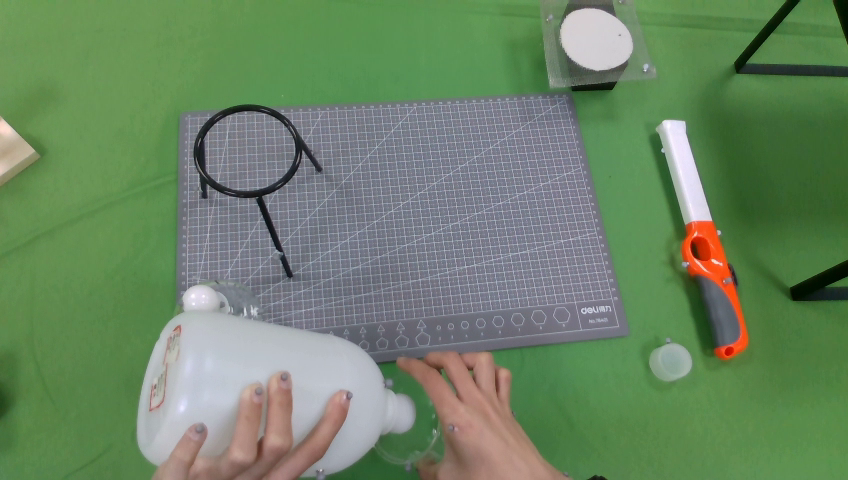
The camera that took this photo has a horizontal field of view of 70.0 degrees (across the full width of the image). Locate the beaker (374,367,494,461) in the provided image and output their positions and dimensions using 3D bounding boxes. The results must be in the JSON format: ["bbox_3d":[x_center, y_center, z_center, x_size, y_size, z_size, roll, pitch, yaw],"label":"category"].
[{"bbox_3d":[0.007,0.154,0.529,0.083,0.101,0.073,0,73,36],"label":"beaker"}]

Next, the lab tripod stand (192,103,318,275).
[{"bbox_3d":[-0.155,-0.052,0.576,0.149,0.132,0.147,3,69,-6],"label":"lab tripod stand"}]

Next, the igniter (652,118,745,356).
[{"bbox_3d":[0.299,-0.011,0.665,0.057,0.025,0.274,0,69,-17],"label":"igniter"}]

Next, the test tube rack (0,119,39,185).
[{"bbox_3d":[-0.507,-0.043,0.566,0.066,0.085,0.242,41,71,10],"label":"test tube rack"}]

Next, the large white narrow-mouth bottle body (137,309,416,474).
[{"bbox_3d":[-0.091,0.116,0.437,0.196,0.101,0.101,18,64,-33],"label":"large white narrow-mouth bottle body"}]

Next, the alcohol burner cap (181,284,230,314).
[{"bbox_3d":[-0.184,0.054,0.505,0.034,0.048,0.033,2,74,-5],"label":"alcohol burner cap"}]

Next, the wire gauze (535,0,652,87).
[{"bbox_3d":[0.192,-0.232,0.697,0.122,0.011,0.124,-3,70,-7],"label":"wire gauze"}]

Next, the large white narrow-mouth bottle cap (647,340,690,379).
[{"bbox_3d":[0.248,0.122,0.615,0.038,0.024,0.037,2,69,-4],"label":"large white narrow-mouth bottle cap"}]

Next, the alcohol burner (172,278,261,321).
[{"bbox_3d":[-0.187,0.065,0.539,0.078,0.120,0.077,3,67,-6],"label":"alcohol burner"}]
